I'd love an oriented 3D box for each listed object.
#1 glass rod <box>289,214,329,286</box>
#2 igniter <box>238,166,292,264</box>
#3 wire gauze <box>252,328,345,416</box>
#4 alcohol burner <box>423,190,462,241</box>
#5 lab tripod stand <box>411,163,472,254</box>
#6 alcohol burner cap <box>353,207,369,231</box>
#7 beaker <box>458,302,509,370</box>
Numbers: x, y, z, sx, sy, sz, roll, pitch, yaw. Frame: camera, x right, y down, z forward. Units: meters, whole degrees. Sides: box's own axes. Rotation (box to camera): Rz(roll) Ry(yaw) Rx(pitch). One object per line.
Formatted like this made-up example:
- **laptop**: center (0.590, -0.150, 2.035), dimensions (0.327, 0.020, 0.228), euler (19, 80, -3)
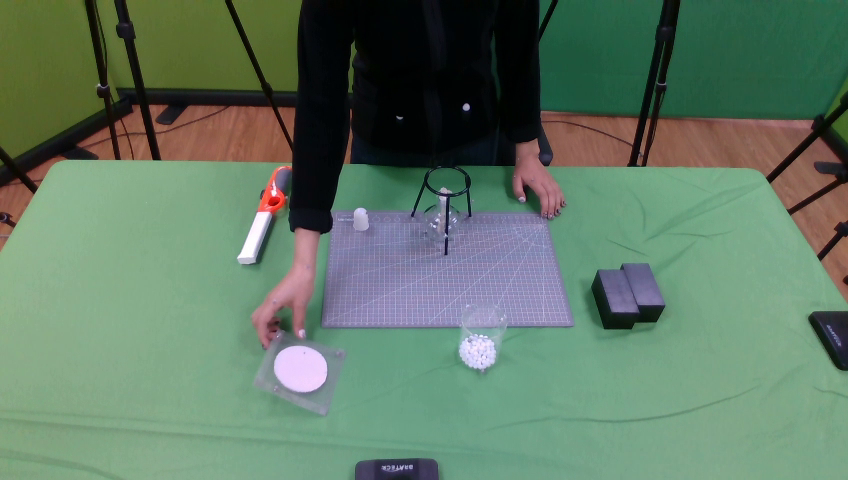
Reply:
- **glass rod**: center (-0.221, 0.015, 1.179), dimensions (0.008, 0.008, 0.199), euler (12, 46, 9)
- **igniter**: center (-0.318, -0.060, 1.229), dimensions (0.057, 0.025, 0.275), euler (-2, 45, 10)
- **wire gauze**: center (-0.198, 0.207, 0.975), dimensions (0.125, 0.011, 0.121), euler (23, 43, -7)
- **alcohol burner**: center (0.036, -0.055, 1.186), dimensions (0.078, 0.120, 0.077), euler (1, 48, -1)
- **lab tripod stand**: center (0.043, -0.069, 1.186), dimensions (0.148, 0.132, 0.147), euler (3, 47, -3)
- **alcohol burner cap**: center (-0.127, -0.045, 1.215), dimensions (0.034, 0.048, 0.033), euler (2, 48, -2)
- **beaker**: center (0.092, 0.160, 0.998), dimensions (0.083, 0.101, 0.074), euler (35, 53, 28)
